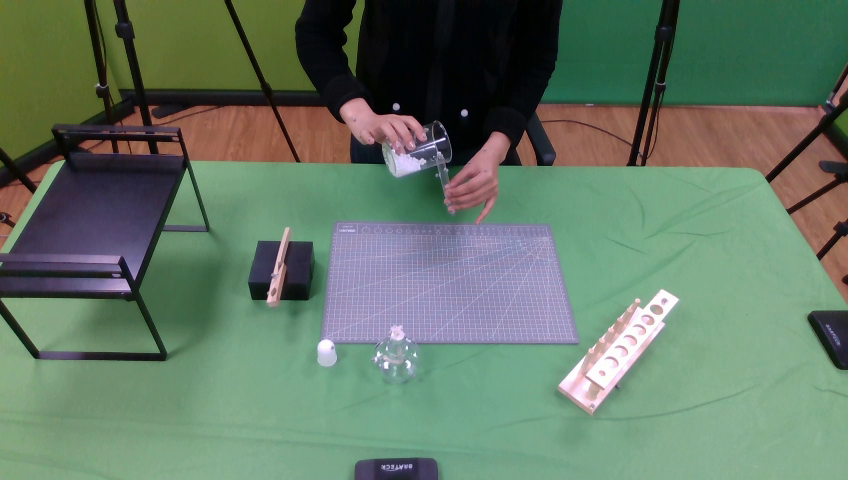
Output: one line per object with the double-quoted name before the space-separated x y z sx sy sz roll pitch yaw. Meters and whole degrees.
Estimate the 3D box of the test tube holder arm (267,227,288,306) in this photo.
"test tube holder arm" -0.258 0.043 1.071 0.013 0.015 0.177 -6 46 2

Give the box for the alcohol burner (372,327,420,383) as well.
"alcohol burner" -0.044 0.175 0.961 0.078 0.120 0.077 1 47 -1

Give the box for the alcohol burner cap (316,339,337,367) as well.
"alcohol burner cap" -0.161 0.182 0.995 0.034 0.048 0.033 2 47 -1

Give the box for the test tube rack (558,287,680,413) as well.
"test tube rack" 0.326 0.170 1.009 0.066 0.085 0.242 36 54 26

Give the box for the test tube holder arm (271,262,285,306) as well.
"test tube holder arm" -0.250 0.075 1.039 0.010 0.015 0.087 -6 46 3

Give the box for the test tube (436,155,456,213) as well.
"test tube" 0.041 -0.099 1.110 0.017 0.151 0.017 -6 53 9

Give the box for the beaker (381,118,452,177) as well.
"beaker" -0.015 -0.149 1.008 0.100 0.084 0.073 -21 56 -15
